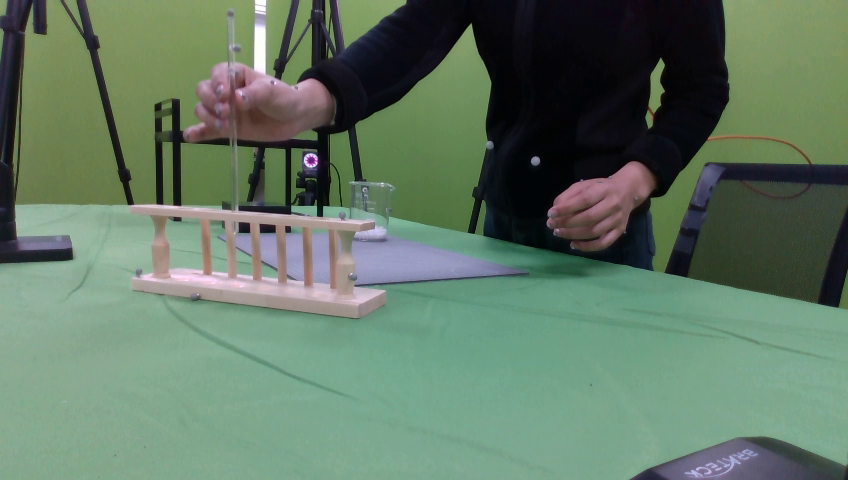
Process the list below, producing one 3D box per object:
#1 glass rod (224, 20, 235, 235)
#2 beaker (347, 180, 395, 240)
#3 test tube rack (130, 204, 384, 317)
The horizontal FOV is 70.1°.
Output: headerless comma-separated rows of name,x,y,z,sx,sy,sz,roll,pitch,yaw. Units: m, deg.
glass rod,-0.182,-0.105,0.570,0.008,0.199,0.008,0,4,0
beaker,-0.094,-0.053,1.053,0.084,0.100,0.074,1,8,-13
test tube rack,-0.162,0.014,0.588,0.242,0.085,0.067,5,8,17
